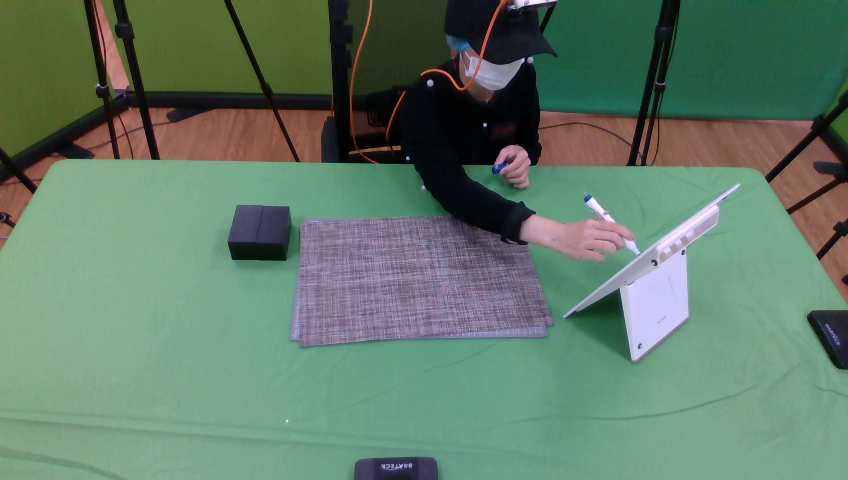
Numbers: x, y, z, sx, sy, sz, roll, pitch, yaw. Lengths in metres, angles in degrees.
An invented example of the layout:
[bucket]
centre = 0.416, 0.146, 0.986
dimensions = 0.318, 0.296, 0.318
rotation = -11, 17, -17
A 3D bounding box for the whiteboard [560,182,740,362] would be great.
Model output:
[whiteboard]
centre = 0.406, 0.075, 1.001
dimensions = 0.217, 0.306, 0.143
rotation = -28, 73, -28

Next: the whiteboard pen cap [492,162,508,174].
[whiteboard pen cap]
centre = 0.162, -0.155, 1.303
dimensions = 0.033, 0.018, 0.018
rotation = -22, 51, -15

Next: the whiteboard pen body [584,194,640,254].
[whiteboard pen body]
centre = 0.320, -0.024, 1.023
dimensions = 0.141, 0.017, 0.017
rotation = 46, 53, -4
